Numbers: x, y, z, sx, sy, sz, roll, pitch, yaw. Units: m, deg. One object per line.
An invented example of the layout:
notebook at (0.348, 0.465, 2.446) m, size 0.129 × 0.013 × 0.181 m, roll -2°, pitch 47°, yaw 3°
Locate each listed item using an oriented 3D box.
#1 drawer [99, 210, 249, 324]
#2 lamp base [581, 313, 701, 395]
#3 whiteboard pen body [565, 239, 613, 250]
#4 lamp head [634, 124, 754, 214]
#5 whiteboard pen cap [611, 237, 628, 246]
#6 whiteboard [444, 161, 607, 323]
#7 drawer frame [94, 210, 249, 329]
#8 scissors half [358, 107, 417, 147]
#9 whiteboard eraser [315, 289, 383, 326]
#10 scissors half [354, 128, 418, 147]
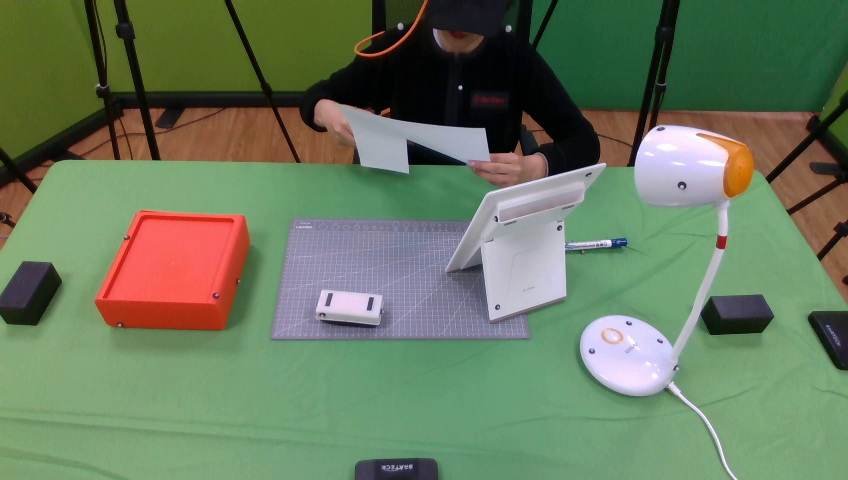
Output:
drawer at (-0.435, 0.044, 1.081) m, size 0.194 × 0.073 × 0.210 m, roll 3°, pitch 47°, yaw -2°
lamp base at (0.361, 0.144, 0.972) m, size 0.178 × 0.181 × 0.160 m, roll 34°, pitch 53°, yaw 23°
whiteboard pen body at (0.331, 0.008, 1.211) m, size 0.141 × 0.017 × 0.017 m, roll -5°, pitch 47°, yaw -4°
lamp head at (0.351, -0.089, 0.776) m, size 0.112 × 0.113 × 0.122 m, roll -30°, pitch 30°, yaw -28°
whiteboard pen cap at (0.390, 0.004, 1.215) m, size 0.033 × 0.018 × 0.018 m, roll -7°, pitch 47°, yaw -2°
whiteboard at (0.186, 0.025, 1.029) m, size 0.217 × 0.306 × 0.143 m, roll -14°, pitch 68°, yaw -18°
drawer frame at (-0.434, 0.048, 1.076) m, size 0.202 × 0.083 × 0.212 m, roll 2°, pitch 47°, yaw -3°
scissors half at (-0.077, -0.235, 1.268) m, size 0.174 × 0.040 × 0.013 m, roll 37°, pitch 26°, yaw 27°
whiteboard eraser at (-0.130, 0.119, 1.054) m, size 0.113 × 0.042 × 0.055 m, roll 6°, pitch 47°, yaw 1°
scissors half at (-0.082, -0.214, 1.274) m, size 0.174 × 0.040 × 0.013 m, roll 9°, pitch 15°, yaw 37°
